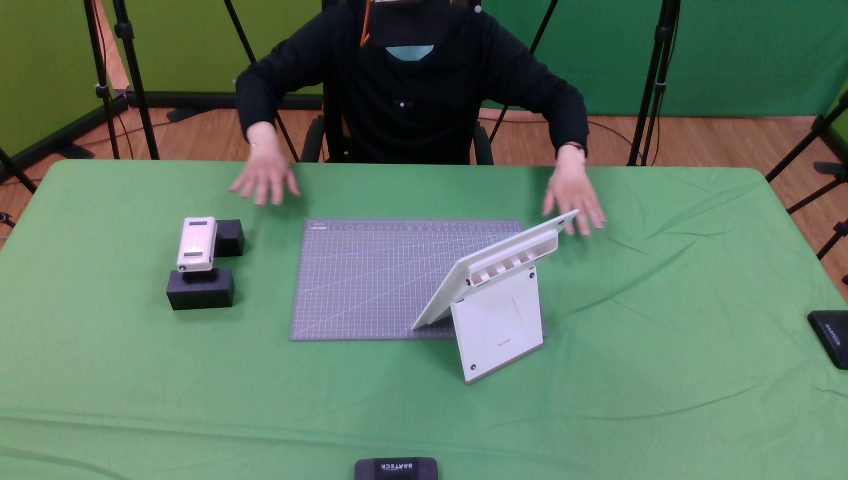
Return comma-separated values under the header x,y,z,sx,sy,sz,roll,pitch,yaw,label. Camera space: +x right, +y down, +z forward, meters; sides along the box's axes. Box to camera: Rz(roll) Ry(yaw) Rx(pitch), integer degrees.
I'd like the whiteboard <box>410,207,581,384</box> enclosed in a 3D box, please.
x,y,z,sx,sy,sz,roll,pitch,yaw,label
0.131,0.108,0.946,0.217,0.306,0.143,-21,72,-23,whiteboard

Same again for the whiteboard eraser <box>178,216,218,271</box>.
x,y,z,sx,sy,sz,roll,pitch,yaw,label
-0.400,0.008,1.078,0.056,0.042,0.112,-1,49,-10,whiteboard eraser
